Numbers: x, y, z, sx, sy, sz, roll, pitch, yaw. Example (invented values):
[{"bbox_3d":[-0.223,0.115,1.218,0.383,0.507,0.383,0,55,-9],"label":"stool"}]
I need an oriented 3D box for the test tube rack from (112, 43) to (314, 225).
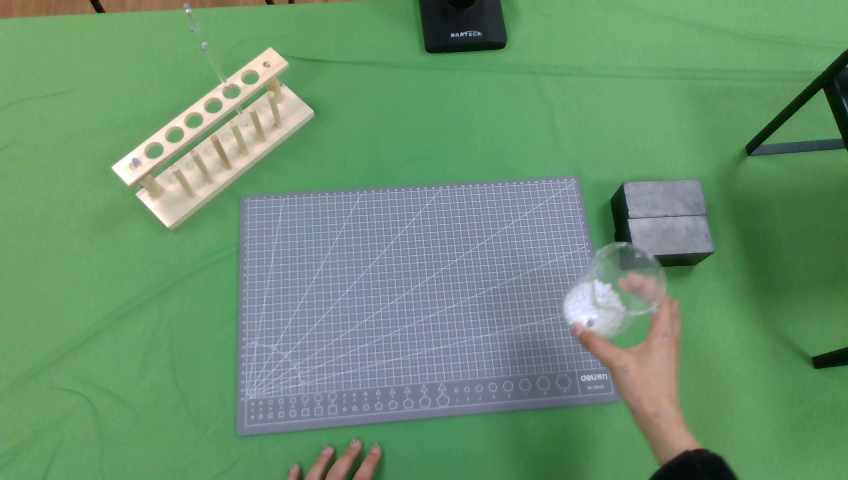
[{"bbox_3d":[-0.256,-0.133,0.765,0.066,0.085,0.242,43,73,12],"label":"test tube rack"}]

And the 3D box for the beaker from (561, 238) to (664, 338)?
[{"bbox_3d":[0.186,0.056,0.620,0.084,0.101,0.073,-36,73,-21],"label":"beaker"}]

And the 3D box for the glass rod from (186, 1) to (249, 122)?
[{"bbox_3d":[-0.241,-0.203,0.721,0.008,0.201,0.008,-1,64,2],"label":"glass rod"}]
